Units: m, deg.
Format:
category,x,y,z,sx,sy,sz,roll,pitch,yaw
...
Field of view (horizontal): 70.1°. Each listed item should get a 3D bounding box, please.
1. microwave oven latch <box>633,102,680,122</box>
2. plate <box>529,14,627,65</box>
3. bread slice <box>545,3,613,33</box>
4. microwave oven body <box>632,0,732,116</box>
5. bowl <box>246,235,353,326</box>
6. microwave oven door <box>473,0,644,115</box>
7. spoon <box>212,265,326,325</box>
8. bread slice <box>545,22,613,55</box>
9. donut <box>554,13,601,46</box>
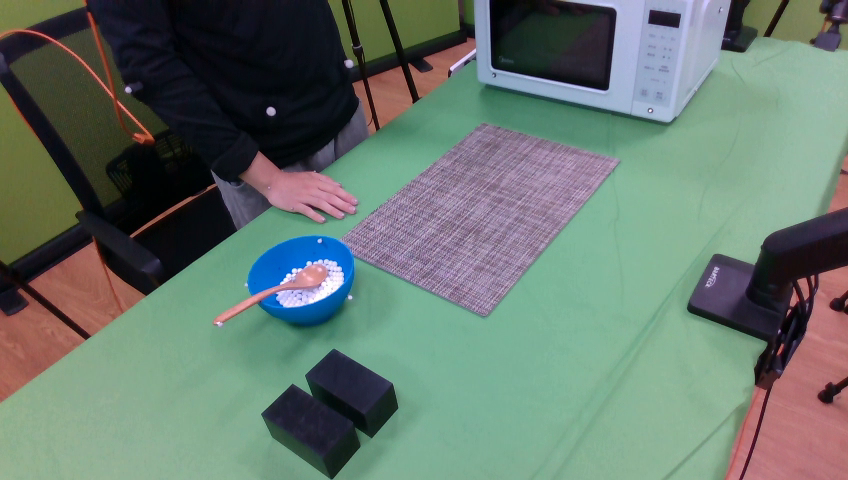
category,x,y,z,sx,sy,sz,roll,pitch,yaw
microwave oven latch,0.444,-0.249,1.157,0.078,0.029,0.030,21,49,30
plate,0.332,-0.433,1.317,0.207,0.039,0.206,-5,42,5
bread slice,0.330,-0.474,1.280,0.131,0.019,0.104,-10,38,0
microwave oven body,0.377,-0.462,1.267,0.438,0.261,0.327,21,48,30
bowl,-0.170,0.070,0.868,0.151,0.077,0.150,-4,41,4
microwave oven door,0.257,-0.396,1.199,0.353,0.245,0.039,21,48,29
spoon,-0.207,0.072,0.822,0.041,0.021,0.195,26,28,27
bread slice,0.339,-0.440,1.311,0.135,0.018,0.106,-11,48,-9
donut,0.328,-0.452,1.296,0.099,0.048,0.098,-5,46,6
